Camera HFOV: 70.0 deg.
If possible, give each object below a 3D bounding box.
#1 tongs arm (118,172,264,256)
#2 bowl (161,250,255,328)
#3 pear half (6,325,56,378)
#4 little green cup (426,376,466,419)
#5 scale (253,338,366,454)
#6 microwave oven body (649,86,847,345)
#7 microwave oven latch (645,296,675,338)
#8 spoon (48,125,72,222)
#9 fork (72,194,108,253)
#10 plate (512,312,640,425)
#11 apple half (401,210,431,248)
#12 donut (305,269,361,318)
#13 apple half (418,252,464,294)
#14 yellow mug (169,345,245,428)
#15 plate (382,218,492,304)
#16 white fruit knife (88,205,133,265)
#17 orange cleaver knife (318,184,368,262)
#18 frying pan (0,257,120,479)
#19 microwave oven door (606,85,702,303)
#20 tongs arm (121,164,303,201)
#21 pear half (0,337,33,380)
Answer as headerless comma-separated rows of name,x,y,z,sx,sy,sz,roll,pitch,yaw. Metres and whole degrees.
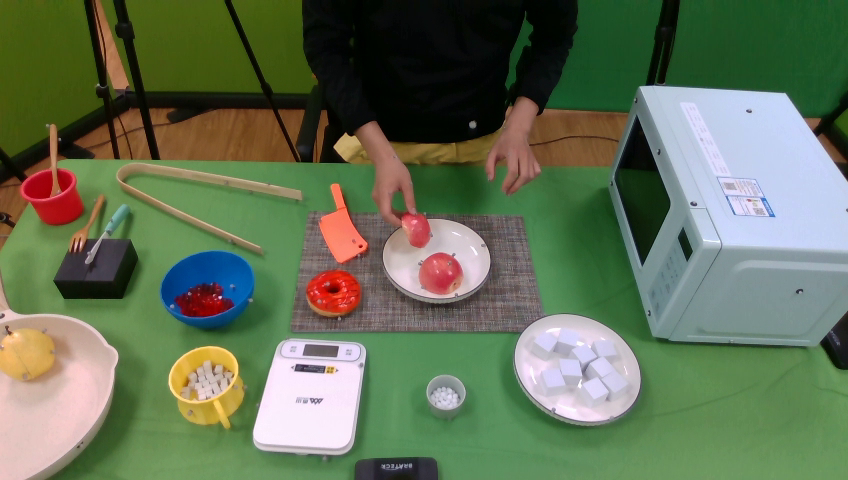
tongs arm,-0.474,-0.052,1.212,0.386,0.028,0.028,24,58,17
bowl,-0.362,0.098,1.039,0.151,0.077,0.150,2,45,-2
pear half,-0.608,0.158,0.935,0.076,0.110,0.056,31,51,20
little green cup,0.033,0.248,0.950,0.061,0.039,0.061,2,46,-2
scale,-0.175,0.236,0.951,0.149,0.032,0.199,5,45,-1
microwave oven body,0.567,-0.053,1.118,0.326,0.261,0.439,2,45,-1
microwave oven latch,0.412,0.134,1.061,0.030,0.029,0.078,3,45,0
spoon,-0.718,-0.131,1.188,0.041,0.021,0.193,-4,90,-6
fork,-0.634,-0.036,1.158,0.028,0.019,0.206,-8,32,-8
plate,0.246,0.213,0.999,0.208,0.039,0.206,2,46,-2
apple half,-0.009,-0.024,1.140,0.033,0.082,0.081,-23,40,25
donut,-0.160,0.094,1.075,0.099,0.048,0.098,4,45,-3
apple half,0.033,0.055,1.109,0.081,0.053,0.074,-28,57,-27
yellow mug,-0.322,0.230,0.922,0.100,0.064,0.130,-24,53,-25
plate,0.023,0.042,1.143,0.209,0.038,0.208,2,46,-2
white fruit knife,-0.584,-0.013,1.129,0.016,0.027,0.206,0,32,-5
orange cleaver knife,-0.173,-0.037,1.219,0.077,0.012,0.210,-16,50,-12
frying pan,-0.647,0.164,0.936,0.307,0.103,0.485,-19,58,-22
microwave oven door,0.423,-0.094,1.140,0.039,0.245,0.353,2,46,-1
tongs arm,-0.444,-0.114,1.267,0.384,0.026,0.050,12,52,7
pear half,-0.631,0.184,0.921,0.070,0.088,0.031,29,49,19
